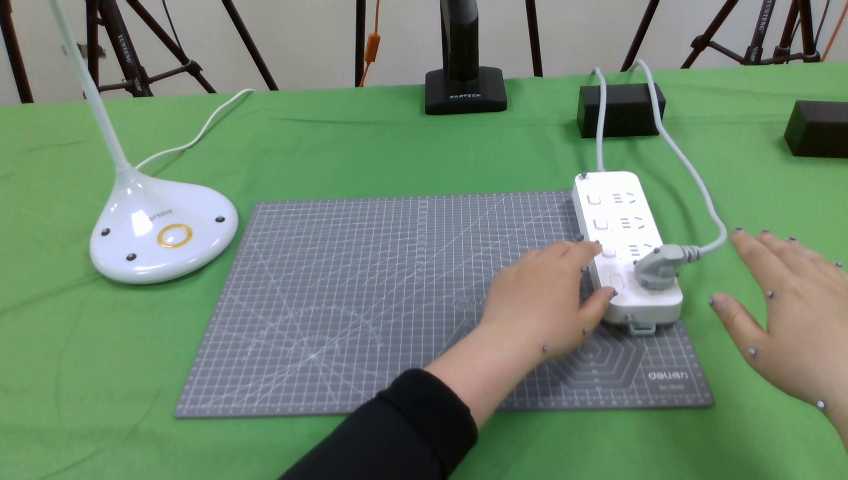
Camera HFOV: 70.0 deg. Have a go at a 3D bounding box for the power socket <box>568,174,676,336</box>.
[{"bbox_3d":[0.197,0.002,0.624,0.072,0.033,0.224,0,41,3],"label":"power socket"}]

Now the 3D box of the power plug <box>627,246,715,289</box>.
[{"bbox_3d":[0.223,0.032,0.552,0.072,0.053,0.035,7,42,11],"label":"power plug"}]

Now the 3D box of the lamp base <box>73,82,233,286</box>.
[{"bbox_3d":[-0.313,-0.068,0.642,0.177,0.182,0.160,25,49,33],"label":"lamp base"}]
